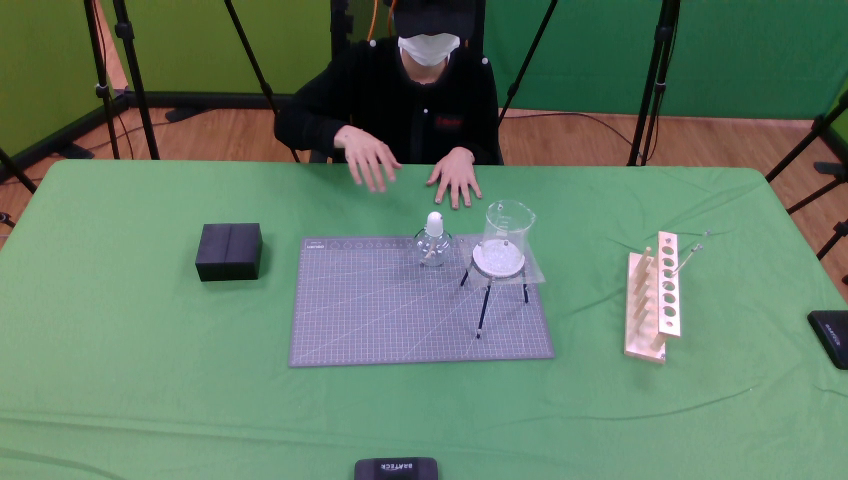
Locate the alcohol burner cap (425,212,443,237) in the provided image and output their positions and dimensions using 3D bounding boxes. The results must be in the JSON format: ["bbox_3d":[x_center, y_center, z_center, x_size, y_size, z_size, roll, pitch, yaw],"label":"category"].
[{"bbox_3d":[0.019,-0.032,1.114,0.034,0.048,0.033,0,48,0],"label":"alcohol burner cap"}]

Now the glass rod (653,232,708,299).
[{"bbox_3d":[0.441,0.049,1.050,0.008,0.200,0.008,4,52,-5],"label":"glass rod"}]

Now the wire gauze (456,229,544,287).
[{"bbox_3d":[0.125,0.030,1.008,0.125,0.011,0.120,-3,48,-11],"label":"wire gauze"}]

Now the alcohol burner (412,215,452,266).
[{"bbox_3d":[0.017,-0.006,1.139,0.078,0.119,0.077,2,48,-2],"label":"alcohol burner"}]

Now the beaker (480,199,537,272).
[{"bbox_3d":[0.132,-0.004,0.973,0.084,0.101,0.073,-4,47,-9],"label":"beaker"}]

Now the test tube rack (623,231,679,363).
[{"bbox_3d":[0.410,0.094,1.096,0.066,0.085,0.241,13,46,9],"label":"test tube rack"}]

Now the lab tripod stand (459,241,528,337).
[{"bbox_3d":[0.122,0.075,1.054,0.148,0.132,0.147,3,44,-3],"label":"lab tripod stand"}]
